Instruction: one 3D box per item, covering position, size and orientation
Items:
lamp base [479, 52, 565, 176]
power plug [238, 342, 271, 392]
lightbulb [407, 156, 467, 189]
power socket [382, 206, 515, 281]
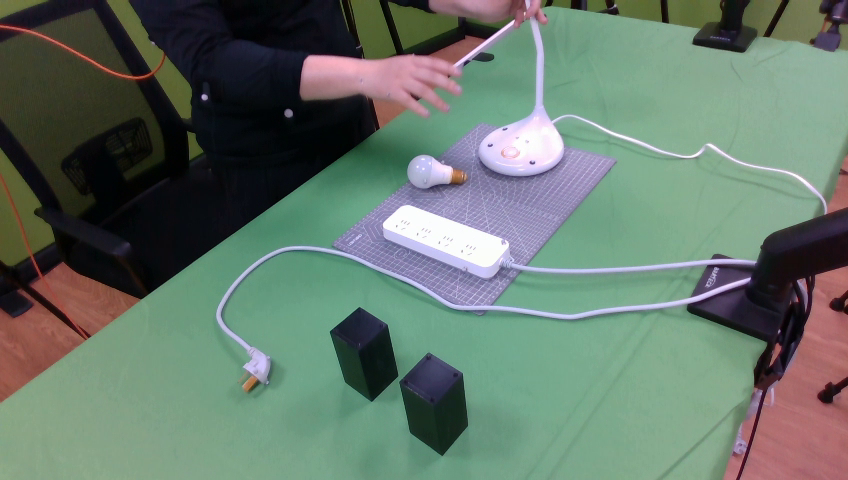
[{"bbox_3d":[0.181,-0.235,1.093,0.159,0.181,0.179,18,44,27],"label":"lamp base"},{"bbox_3d":[-0.230,0.171,0.801,0.072,0.035,0.053,10,52,50],"label":"power plug"},{"bbox_3d":[0.023,-0.118,1.081,0.108,0.059,0.059,7,40,-7],"label":"lightbulb"},{"bbox_3d":[0.032,0.002,0.950,0.225,0.033,0.072,21,49,29],"label":"power socket"}]
